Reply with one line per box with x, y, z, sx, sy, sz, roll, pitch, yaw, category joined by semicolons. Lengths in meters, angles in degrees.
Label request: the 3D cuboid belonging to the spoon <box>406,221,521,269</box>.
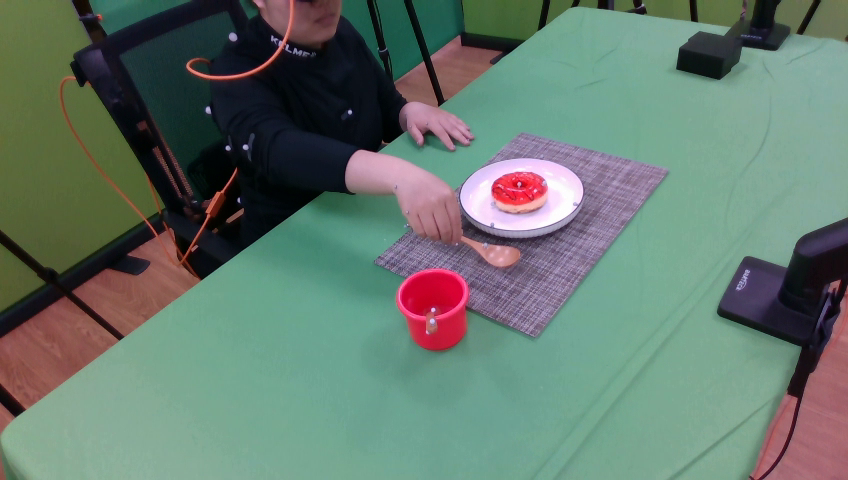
0.055;0.001;0.907;0.192;0.022;0.041;23;56;23;spoon

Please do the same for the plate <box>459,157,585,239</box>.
0.163;-0.068;1.015;0.209;0.038;0.208;-5;40;5;plate

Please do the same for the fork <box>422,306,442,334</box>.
0.010;0.099;0.766;0.028;0.018;0.207;-10;-3;1;fork

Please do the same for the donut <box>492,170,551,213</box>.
0.163;-0.083;1.015;0.099;0.048;0.098;-6;37;5;donut
